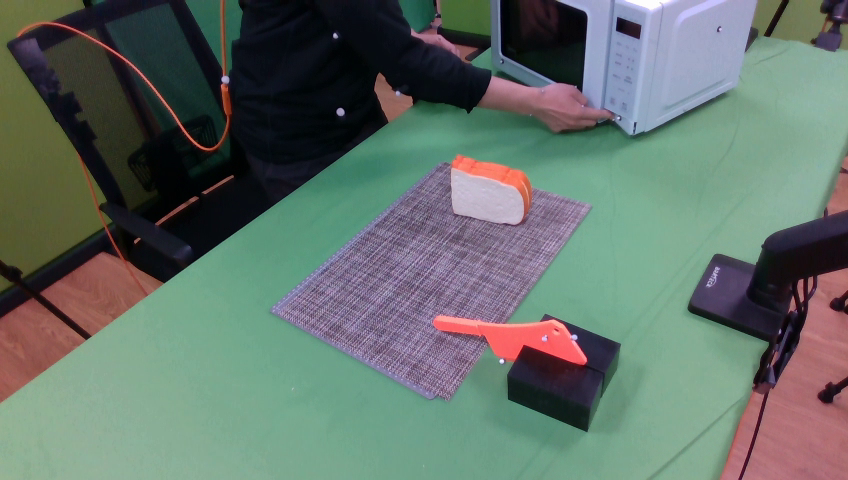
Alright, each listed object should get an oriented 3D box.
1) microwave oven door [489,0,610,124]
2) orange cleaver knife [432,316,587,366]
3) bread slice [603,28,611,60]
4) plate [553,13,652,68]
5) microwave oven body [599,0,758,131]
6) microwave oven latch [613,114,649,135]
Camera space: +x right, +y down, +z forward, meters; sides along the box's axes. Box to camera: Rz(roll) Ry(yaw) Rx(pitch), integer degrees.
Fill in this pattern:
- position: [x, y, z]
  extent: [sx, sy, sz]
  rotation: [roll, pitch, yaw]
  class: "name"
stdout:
- position: [0.246, -0.411, 1.218]
  extent: [0.039, 0.245, 0.352]
  rotation: [-26, 44, -20]
  class: "microwave oven door"
- position: [0.102, 0.126, 0.762]
  extent: [0.210, 0.077, 0.012]
  rotation: [-1, 34, 40]
  class: "orange cleaver knife"
- position: [0.362, -0.426, 1.326]
  extent: [0.107, 0.018, 0.133]
  rotation: [0, 52, 5]
  class: "bread slice"
- position: [0.385, -0.427, 1.313]
  extent: [0.207, 0.039, 0.206]
  rotation: [-3, 45, 3]
  class: "plate"
- position: [0.397, -0.449, 1.249]
  extent: [0.327, 0.261, 0.437]
  rotation: [-27, 44, -21]
  class: "microwave oven body"
- position: [0.387, -0.226, 1.139]
  extent: [0.030, 0.029, 0.078]
  rotation: [-15, 41, -8]
  class: "microwave oven latch"
